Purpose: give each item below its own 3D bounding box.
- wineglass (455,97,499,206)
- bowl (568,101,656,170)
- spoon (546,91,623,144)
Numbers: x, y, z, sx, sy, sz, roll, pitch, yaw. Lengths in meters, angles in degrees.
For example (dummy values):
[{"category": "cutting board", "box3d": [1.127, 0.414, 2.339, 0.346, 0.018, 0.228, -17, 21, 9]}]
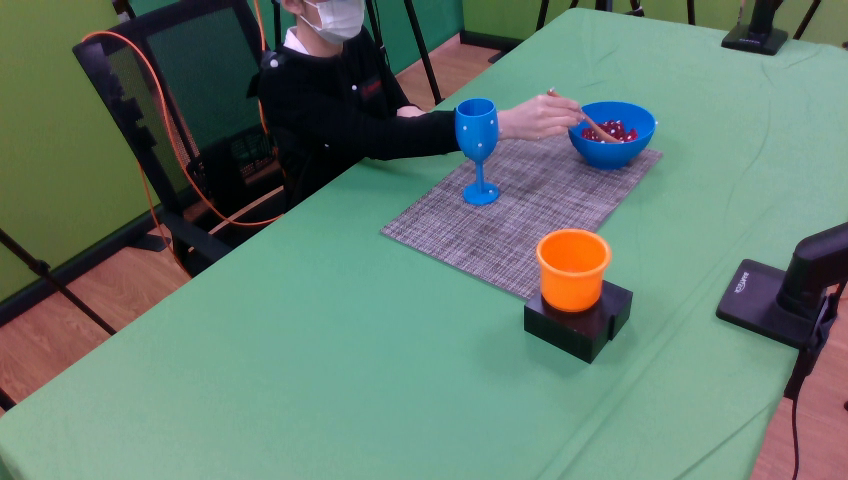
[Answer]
[{"category": "wineglass", "box3d": [0.091, -0.145, 1.009, 0.074, 0.173, 0.073, -5, 40, 4]}, {"category": "bowl", "box3d": [0.332, -0.179, 1.084, 0.151, 0.077, 0.150, -4, 40, 4]}, {"category": "spoon", "box3d": [0.281, -0.202, 1.043, 0.041, 0.195, 0.021, -7, 53, 63]}]
